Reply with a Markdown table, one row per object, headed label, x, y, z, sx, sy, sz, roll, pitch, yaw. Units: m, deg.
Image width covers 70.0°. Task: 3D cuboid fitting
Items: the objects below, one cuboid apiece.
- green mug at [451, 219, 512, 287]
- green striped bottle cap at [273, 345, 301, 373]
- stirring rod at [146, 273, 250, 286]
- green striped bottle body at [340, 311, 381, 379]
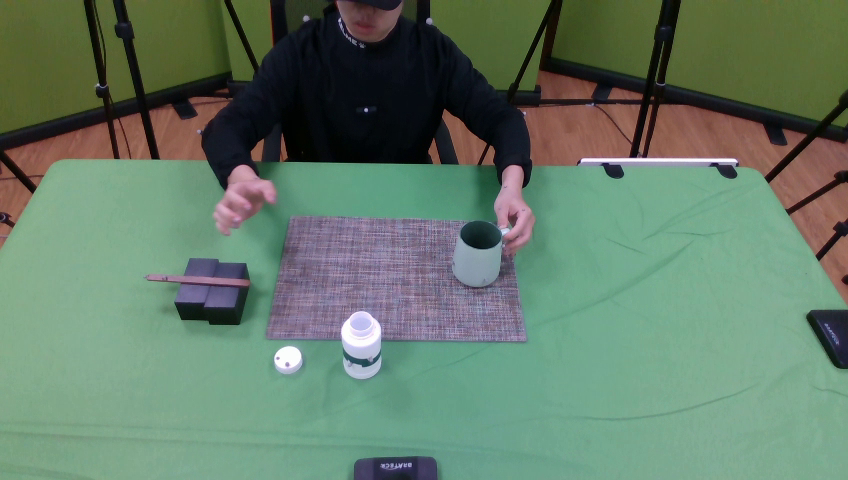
| label | x | y | z | sx | sy | sz | roll | pitch | yaw |
| --- | --- | --- | --- | --- | --- | --- | --- | --- | --- |
| green mug | 0.112 | 0.019 | 1.125 | 0.125 | 0.105 | 0.092 | -24 | 52 | -24 |
| green striped bottle cap | -0.225 | 0.195 | 0.997 | 0.044 | 0.020 | 0.044 | 2 | 51 | -2 |
| stirring rod | -0.389 | 0.069 | 1.043 | 0.176 | 0.006 | 0.014 | 4 | 41 | -1 |
| green striped bottle body | -0.101 | 0.164 | 0.964 | 0.063 | 0.120 | 0.063 | 2 | 46 | -2 |
